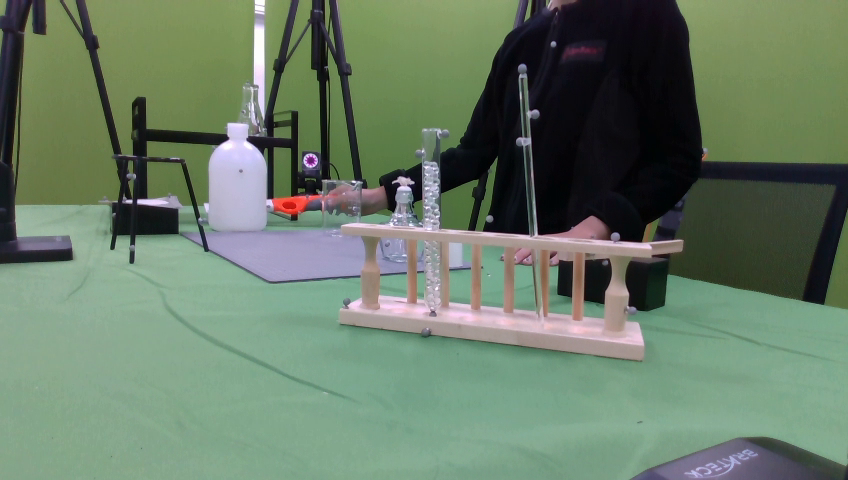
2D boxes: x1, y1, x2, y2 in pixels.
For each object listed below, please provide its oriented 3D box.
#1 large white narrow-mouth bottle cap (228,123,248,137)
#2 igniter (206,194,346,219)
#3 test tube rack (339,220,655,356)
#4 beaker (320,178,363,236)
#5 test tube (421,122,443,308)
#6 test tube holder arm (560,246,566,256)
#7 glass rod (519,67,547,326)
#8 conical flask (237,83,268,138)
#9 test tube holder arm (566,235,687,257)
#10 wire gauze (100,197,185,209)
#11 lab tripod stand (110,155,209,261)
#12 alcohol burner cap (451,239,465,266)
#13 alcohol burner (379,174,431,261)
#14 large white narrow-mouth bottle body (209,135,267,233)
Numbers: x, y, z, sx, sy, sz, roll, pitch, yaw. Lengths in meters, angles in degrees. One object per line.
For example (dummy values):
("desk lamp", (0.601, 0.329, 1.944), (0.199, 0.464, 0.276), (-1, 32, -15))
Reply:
("large white narrow-mouth bottle cap", (-0.338, -0.199, 1.098), (0.038, 0.024, 0.037), (2, 8, 0))
("igniter", (-0.296, -0.070, 1.231), (0.278, 0.025, 0.057), (-7, 39, -24))
("test tube rack", (0.056, 0.032, 0.495), (0.242, 0.085, 0.067), (4, 7, 15))
("beaker", (-0.145, -0.059, 1.079), (0.074, 0.100, 0.083), (-4, 10, -36))
("test tube", (0.007, -0.019, 0.487), (0.017, 0.150, 0.017), (-1, 8, 0))
("test tube holder arm", (0.173, 0.007, 0.612), (0.088, 0.015, 0.010), (-3, 9, -30))
("glass rod", (0.084, -0.028, 0.458), (0.008, 0.199, 0.008), (-6, 11, 2))
("conical flask", (-0.402, -0.299, 1.406), (0.075, 0.122, 0.075), (2, 7, 0))
("test tube holder arm", (0.215, 0.006, 0.630), (0.179, 0.015, 0.013), (-3, 9, -31))
("wire gauze", (-0.469, -0.062, 1.008), (0.126, 0.011, 0.121), (-2, 8, -25))
("lab tripod stand", (-0.361, -0.046, 0.806), (0.148, 0.131, 0.148), (2, 5, 0))
("alcohol burner cap", (0.041, 0.010, 0.815), (0.034, 0.048, 0.034), (4, 7, 0))
("alcohol burner", (-0.027, -0.031, 0.838), (0.078, 0.119, 0.078), (0, 6, 0))
("large white narrow-mouth bottle body", (-0.340, -0.115, 1.109), (0.102, 0.194, 0.102), (2, 8, 0))
